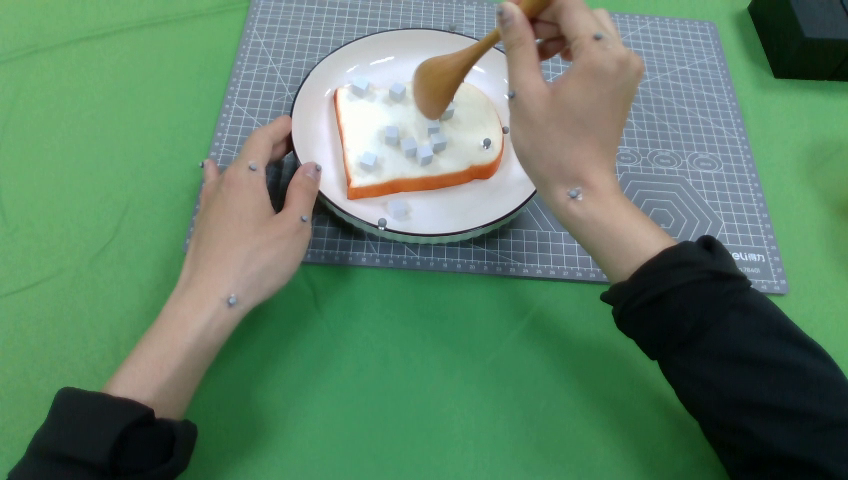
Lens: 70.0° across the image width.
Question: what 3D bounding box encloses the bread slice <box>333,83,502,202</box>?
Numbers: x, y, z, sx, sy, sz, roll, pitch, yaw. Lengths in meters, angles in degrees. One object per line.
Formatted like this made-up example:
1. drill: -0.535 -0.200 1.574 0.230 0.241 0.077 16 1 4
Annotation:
1. bread slice: -0.004 -0.085 0.486 0.132 0.019 0.104 -10 62 -8

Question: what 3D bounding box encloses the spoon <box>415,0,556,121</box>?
1. spoon: 0.047 -0.131 0.385 0.022 0.193 0.041 -16 82 -40

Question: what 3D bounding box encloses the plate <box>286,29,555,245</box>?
1. plate: -0.002 -0.082 0.481 0.209 0.038 0.207 2 60 -4
